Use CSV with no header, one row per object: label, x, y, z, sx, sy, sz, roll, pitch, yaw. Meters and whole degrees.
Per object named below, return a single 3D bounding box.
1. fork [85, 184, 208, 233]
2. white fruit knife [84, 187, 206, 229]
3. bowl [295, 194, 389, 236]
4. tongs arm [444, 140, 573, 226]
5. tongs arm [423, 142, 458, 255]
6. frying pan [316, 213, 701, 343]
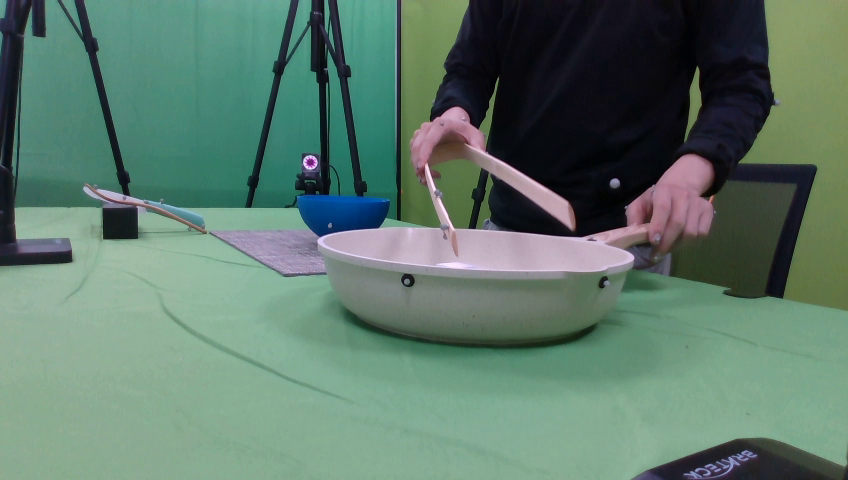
fork,-0.462,-0.051,1.020,0.208,0.018,0.028,22,-8,-37
white fruit knife,-0.488,-0.059,1.071,0.208,0.027,0.016,17,4,-33
bowl,-0.132,-0.032,0.980,0.151,0.077,0.151,2,7,0
tongs arm,0.083,-0.078,0.698,0.028,0.028,0.386,-21,20,-5
tongs arm,0.027,-0.063,0.695,0.051,0.026,0.384,-16,19,-1
frying pan,0.133,0.014,0.629,0.490,0.102,0.305,-11,14,-30
